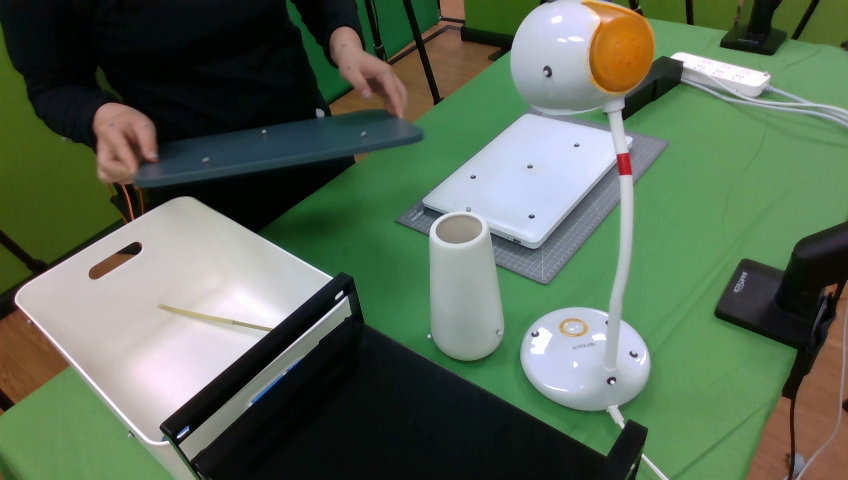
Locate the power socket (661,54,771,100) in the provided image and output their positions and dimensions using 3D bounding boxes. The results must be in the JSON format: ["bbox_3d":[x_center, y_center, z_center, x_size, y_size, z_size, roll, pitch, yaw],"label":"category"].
[{"bbox_3d":[0.614,-0.349,1.285,0.072,0.033,0.225,-36,48,-28],"label":"power socket"}]

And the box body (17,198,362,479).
[{"bbox_3d":[-0.285,0.123,0.766,0.361,0.161,0.255,25,49,33],"label":"box body"}]

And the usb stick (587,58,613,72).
[{"bbox_3d":[0.401,-0.399,1.381,0.059,0.027,0.021,0,49,21],"label":"usb stick"}]

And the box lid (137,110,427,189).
[{"bbox_3d":[-0.200,-0.138,0.862,0.373,0.015,0.261,-13,22,-16],"label":"box lid"}]

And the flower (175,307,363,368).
[{"bbox_3d":[-0.234,0.121,0.831,0.359,0.044,0.038,6,1,33],"label":"flower"}]

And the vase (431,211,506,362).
[{"bbox_3d":[0.054,0.062,0.757,0.098,0.201,0.097,-3,40,3],"label":"vase"}]

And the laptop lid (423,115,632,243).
[{"bbox_3d":[0.190,-0.126,1.081,0.239,0.013,0.358,23,48,34],"label":"laptop lid"}]

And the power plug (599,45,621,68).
[{"bbox_3d":[0.437,-0.422,1.412,0.053,0.035,0.072,-19,75,-46],"label":"power plug"}]

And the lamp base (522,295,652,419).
[{"bbox_3d":[0.201,0.095,0.710,0.161,0.181,0.177,-16,43,-10],"label":"lamp base"}]

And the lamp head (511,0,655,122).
[{"bbox_3d":[0.155,-0.168,0.564,0.113,0.113,0.122,-18,23,-12],"label":"lamp head"}]

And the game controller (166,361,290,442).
[{"bbox_3d":[-0.233,0.210,0.737,0.096,0.052,0.155,27,53,32],"label":"game controller"}]

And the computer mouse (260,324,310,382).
[{"bbox_3d":[-0.158,0.154,0.793,0.116,0.041,0.063,30,50,24],"label":"computer mouse"}]

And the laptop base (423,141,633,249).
[{"bbox_3d":[0.194,-0.117,1.088,0.233,0.023,0.355,21,48,34],"label":"laptop base"}]
